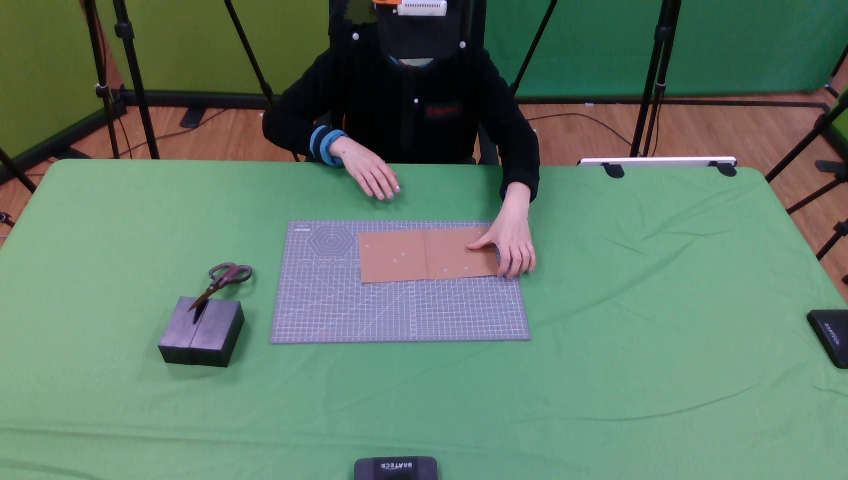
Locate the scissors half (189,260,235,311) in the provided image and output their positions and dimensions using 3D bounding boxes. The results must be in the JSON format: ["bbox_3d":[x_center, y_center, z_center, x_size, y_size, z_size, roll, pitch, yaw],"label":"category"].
[{"bbox_3d":[-0.372,0.077,1.056,0.040,0.013,0.174,13,25,-4],"label":"scissors half"}]

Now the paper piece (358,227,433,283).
[{"bbox_3d":[-0.058,0.027,1.172,0.136,0.004,0.134,-3,48,-7],"label":"paper piece"}]

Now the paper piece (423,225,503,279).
[{"bbox_3d":[0.074,0.020,1.189,0.138,0.009,0.135,-2,50,-8],"label":"paper piece"}]

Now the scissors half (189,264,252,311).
[{"bbox_3d":[-0.353,0.082,1.055,0.040,0.013,0.175,16,26,14],"label":"scissors half"}]
